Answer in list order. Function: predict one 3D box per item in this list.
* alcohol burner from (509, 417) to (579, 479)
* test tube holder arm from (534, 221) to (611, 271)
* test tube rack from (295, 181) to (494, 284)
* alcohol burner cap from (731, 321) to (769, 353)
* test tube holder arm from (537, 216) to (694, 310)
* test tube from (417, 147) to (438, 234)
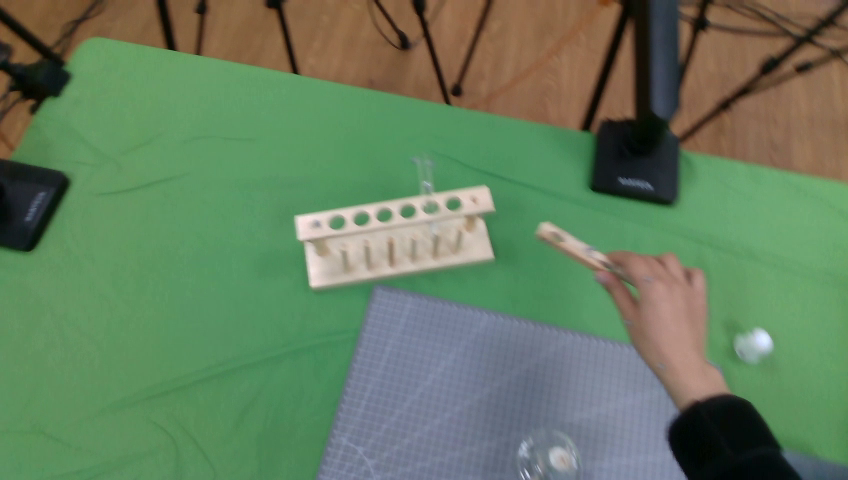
[{"bbox_3d":[0.132,0.228,0.653,0.078,0.120,0.077,1,67,-2],"label":"alcohol burner"},{"bbox_3d":[0.156,0.006,0.633,0.087,0.015,0.010,30,73,6],"label":"test tube holder arm"},{"bbox_3d":[-0.033,-0.008,0.773,0.243,0.086,0.066,-9,66,-6],"label":"test tube rack"},{"bbox_3d":[0.408,0.119,0.753,0.034,0.048,0.033,0,64,0],"label":"alcohol burner cap"},{"bbox_3d":[0.198,0.024,0.630,0.178,0.015,0.013,29,73,6],"label":"test tube holder arm"},{"bbox_3d":[0.006,-0.056,0.739,0.017,0.151,0.017,-2,54,4],"label":"test tube"}]
